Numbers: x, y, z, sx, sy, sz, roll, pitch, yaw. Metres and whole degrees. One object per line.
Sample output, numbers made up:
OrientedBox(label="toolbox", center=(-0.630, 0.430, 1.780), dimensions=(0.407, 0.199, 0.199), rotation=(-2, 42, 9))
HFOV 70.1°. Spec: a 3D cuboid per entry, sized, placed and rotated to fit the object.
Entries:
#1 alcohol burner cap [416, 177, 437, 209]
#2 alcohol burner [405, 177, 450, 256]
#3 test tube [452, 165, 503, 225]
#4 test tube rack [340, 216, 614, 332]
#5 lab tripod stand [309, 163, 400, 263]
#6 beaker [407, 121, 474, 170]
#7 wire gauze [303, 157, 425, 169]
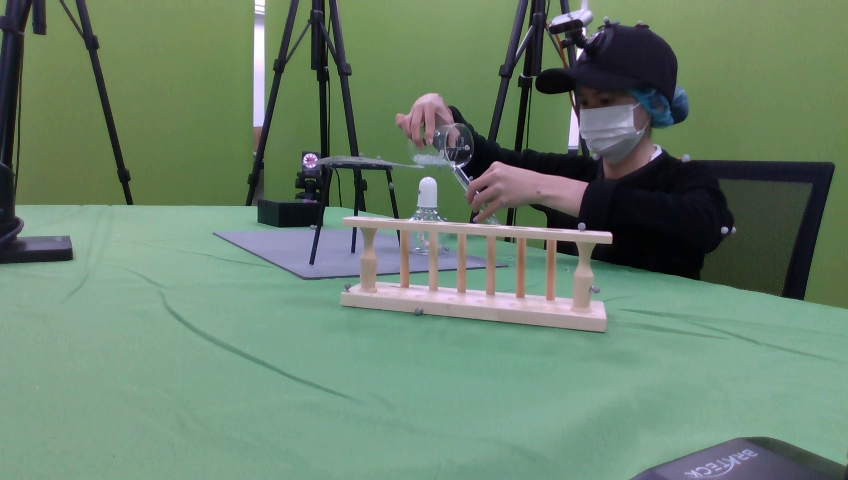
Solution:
OrientedBox(label="alcohol burner cap", center=(0.005, -0.072, 0.914), dimensions=(0.034, 0.048, 0.034), rotation=(4, 10, 0))
OrientedBox(label="alcohol burner", center=(0.004, -0.036, 0.917), dimensions=(0.078, 0.119, 0.078), rotation=(3, 6, 0))
OrientedBox(label="test tube", center=(0.087, -0.070, 0.986), dimensions=(0.017, 0.017, 0.149), rotation=(-3, 48, -37))
OrientedBox(label="test tube rack", center=(0.048, 0.026, 0.568), dimensions=(0.242, 0.085, 0.067), rotation=(4, 8, 13))
OrientedBox(label="lab tripod stand", center=(-0.091, -0.037, 0.813), dimensions=(0.148, 0.131, 0.148), rotation=(1, 6, 0))
OrientedBox(label="beaker", center=(0.026, -0.164, 1.058), dimensions=(0.100, 0.084, 0.074), rotation=(8, -3, 45))
OrientedBox(label="wire gauze", center=(-0.082, -0.102, 0.799), dimensions=(0.126, 0.011, 0.121), rotation=(-1, 7, -30))
